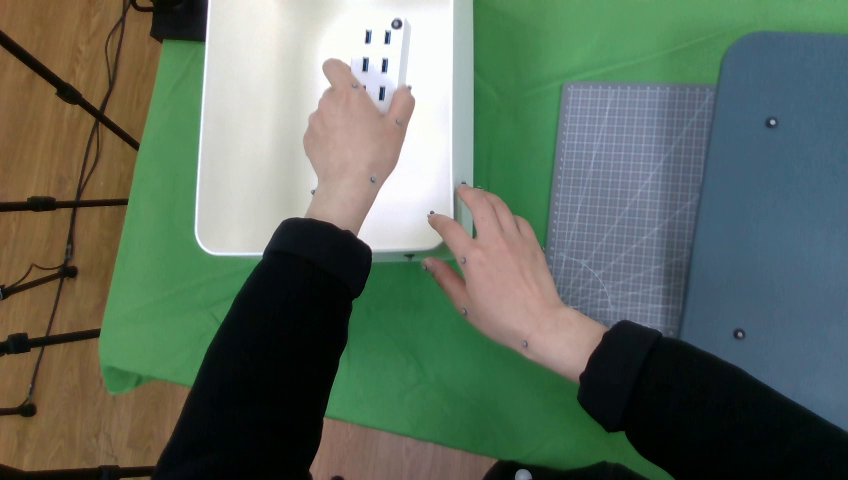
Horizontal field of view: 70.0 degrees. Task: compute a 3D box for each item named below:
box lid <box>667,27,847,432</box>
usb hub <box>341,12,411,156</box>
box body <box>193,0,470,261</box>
[{"bbox_3d":[0.387,-0.004,0.565,0.262,0.015,0.372,7,96,14],"label":"box lid"},{"bbox_3d":[-0.043,-0.140,0.546,0.049,0.025,0.125,6,90,13],"label":"usb hub"},{"bbox_3d":[-0.082,-0.158,0.651,0.253,0.161,0.363,-2,83,13],"label":"box body"}]
